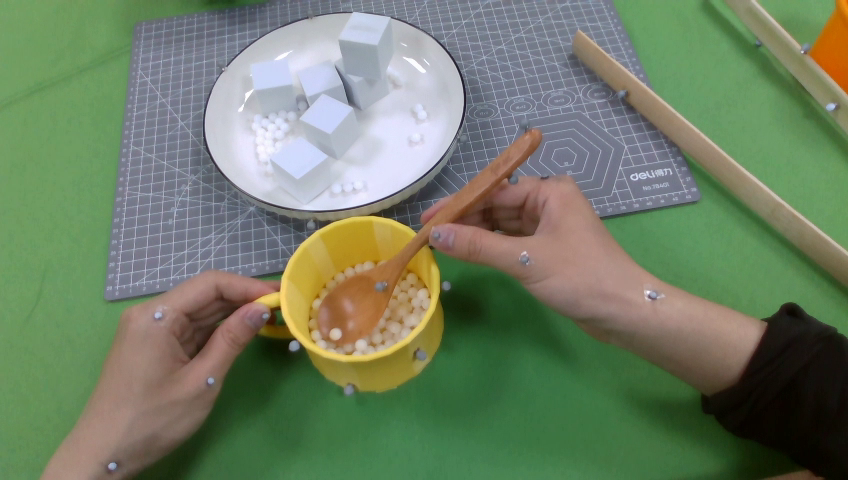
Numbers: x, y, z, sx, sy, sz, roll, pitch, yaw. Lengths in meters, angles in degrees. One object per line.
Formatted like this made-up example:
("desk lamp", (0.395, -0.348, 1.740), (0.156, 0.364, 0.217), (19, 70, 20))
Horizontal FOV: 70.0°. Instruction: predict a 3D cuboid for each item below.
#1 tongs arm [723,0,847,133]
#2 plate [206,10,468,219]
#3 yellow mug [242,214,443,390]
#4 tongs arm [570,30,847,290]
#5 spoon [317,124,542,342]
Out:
("tongs arm", (0.317, -0.080, 0.461), (0.051, 0.027, 0.381), (-23, 64, -8))
("plate", (-0.068, -0.102, 0.493), (0.207, 0.039, 0.206), (-2, 61, 3))
("yellow mug", (-0.054, 0.044, 0.398), (0.131, 0.064, 0.099), (-10, 61, -1))
("tongs arm", (0.245, -0.042, 0.449), (0.028, 0.028, 0.384), (-33, 65, -17))
("spoon", (-0.001, 0.000, 0.371), (0.194, 0.022, 0.041), (-43, 69, 26))
